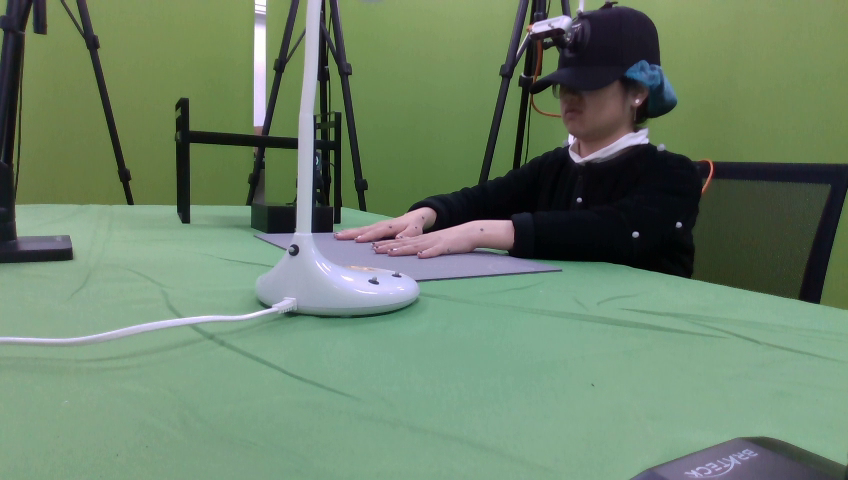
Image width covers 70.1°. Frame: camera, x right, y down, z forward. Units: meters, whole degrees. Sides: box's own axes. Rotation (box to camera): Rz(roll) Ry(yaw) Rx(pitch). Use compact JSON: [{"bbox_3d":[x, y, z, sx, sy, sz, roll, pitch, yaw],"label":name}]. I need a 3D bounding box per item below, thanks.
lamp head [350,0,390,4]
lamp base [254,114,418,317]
[{"bbox_3d":[-0.053,-0.313,0.597,0.112,0.112,0.123,6,-28,25],"label":"lamp head"},{"bbox_3d":[-0.086,-0.027,0.577,0.160,0.180,0.179,4,10,16],"label":"lamp base"}]
